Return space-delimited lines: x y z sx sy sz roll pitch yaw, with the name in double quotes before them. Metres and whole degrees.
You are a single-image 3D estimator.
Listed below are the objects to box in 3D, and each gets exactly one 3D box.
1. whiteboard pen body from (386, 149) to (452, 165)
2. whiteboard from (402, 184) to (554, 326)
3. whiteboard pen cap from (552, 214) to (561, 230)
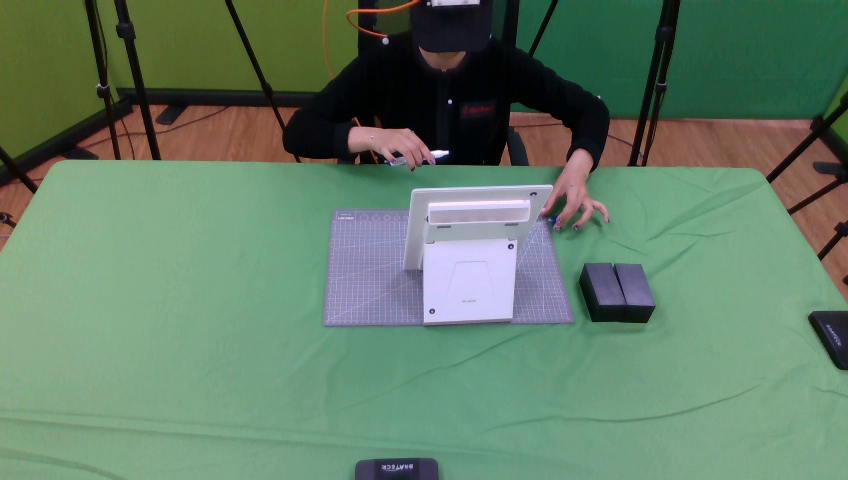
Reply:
"whiteboard pen body" -0.010 -0.173 1.252 0.140 0.017 0.017 -8 44 16
"whiteboard" 0.081 0.044 1.005 0.217 0.306 0.143 -1 66 -6
"whiteboard pen cap" 0.275 -0.037 1.260 0.018 0.018 0.033 2 44 -2
